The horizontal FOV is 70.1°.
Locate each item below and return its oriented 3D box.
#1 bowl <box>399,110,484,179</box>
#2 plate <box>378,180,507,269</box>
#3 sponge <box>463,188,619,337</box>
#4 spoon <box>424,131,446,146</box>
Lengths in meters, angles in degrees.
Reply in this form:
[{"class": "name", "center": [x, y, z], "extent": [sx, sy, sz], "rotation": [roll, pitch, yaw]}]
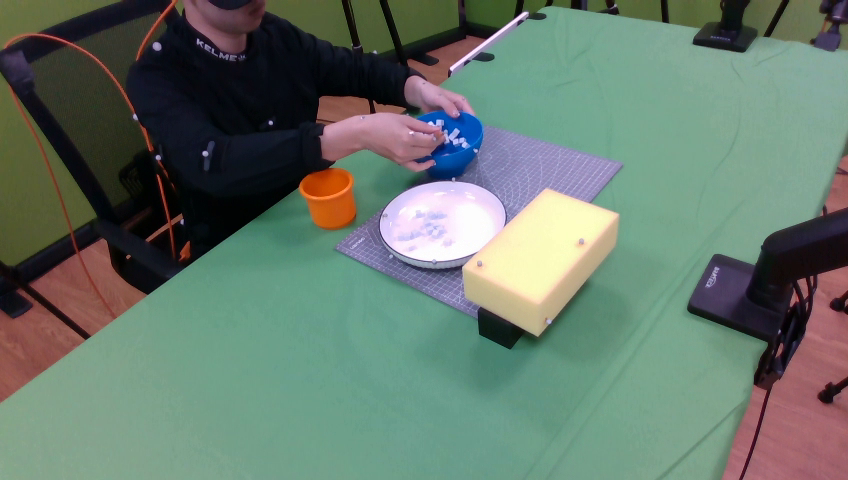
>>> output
[{"class": "bowl", "center": [0.036, -0.165, 1.104], "extent": [0.151, 0.077, 0.150], "rotation": [-5, 43, 5]}, {"class": "plate", "center": [0.031, -0.022, 0.974], "extent": [0.209, 0.038, 0.208], "rotation": [-4, 40, 4]}, {"class": "sponge", "center": [0.160, 0.022, 0.814], "extent": [0.117, 0.061, 0.207], "rotation": [24, 50, 32]}, {"class": "spoon", "center": [0.021, -0.178, 1.044], "extent": [0.041, 0.021, 0.193], "rotation": [-10, 4, 0]}]
